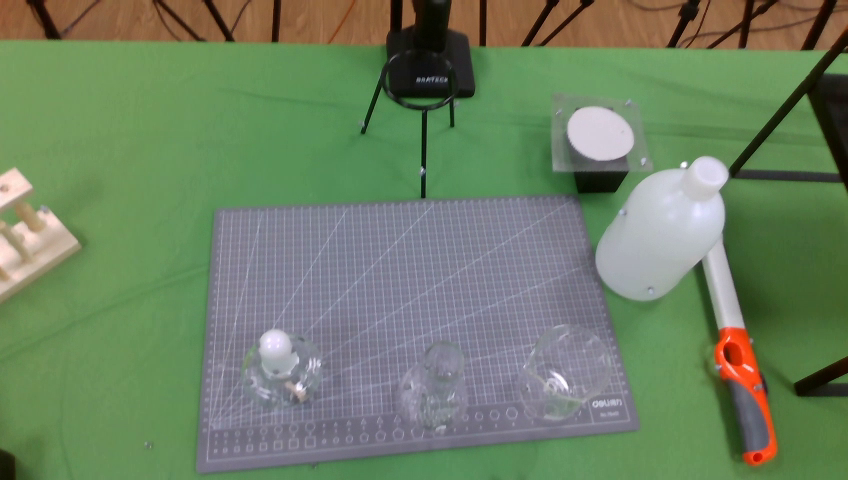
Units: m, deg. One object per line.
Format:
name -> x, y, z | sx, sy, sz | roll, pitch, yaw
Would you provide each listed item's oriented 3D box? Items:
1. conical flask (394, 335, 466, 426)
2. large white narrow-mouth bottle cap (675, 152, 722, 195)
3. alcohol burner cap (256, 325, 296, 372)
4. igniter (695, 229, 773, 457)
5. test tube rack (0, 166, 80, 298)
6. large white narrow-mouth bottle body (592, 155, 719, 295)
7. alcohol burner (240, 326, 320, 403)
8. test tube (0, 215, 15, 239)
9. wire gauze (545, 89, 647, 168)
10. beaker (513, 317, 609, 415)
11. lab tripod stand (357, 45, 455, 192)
conical flask -> 0.010, 0.130, 0.585 | 0.075, 0.123, 0.074 | 3, 60, -4
large white narrow-mouth bottle cap -> 0.263, -0.064, 0.584 | 0.038, 0.024, 0.037 | 2, 61, -4
alcohol burner cap -> -0.136, 0.097, 0.551 | 0.034, 0.048, 0.033 | 2, 55, -2
igniter -> 0.348, 0.105, 0.693 | 0.057, 0.025, 0.274 | 8, 60, -13
test tube rack -> -0.490, 0.037, 0.606 | 0.066, 0.086, 0.242 | 41, 65, 16
large white narrow-mouth bottle body -> 0.257, -0.021, 0.657 | 0.102, 0.196, 0.101 | 2, 60, -4
alcohol burner -> -0.139, 0.114, 0.583 | 0.078, 0.120, 0.077 | 4, 59, -6
test tube -> -0.451, -0.043, 0.598 | 0.017, 0.151, 0.017 | 1, 59, -1
wire gauze -> 0.216, -0.141, 0.770 | 0.121, 0.011, 0.124 | 4, 60, -4
beaker -> 0.130, 0.132, 0.610 | 0.084, 0.101, 0.073 | -6, 61, -8
lab tripod stand -> -0.012, -0.153, 0.737 | 0.148, 0.132, 0.147 | 3, 61, -6
